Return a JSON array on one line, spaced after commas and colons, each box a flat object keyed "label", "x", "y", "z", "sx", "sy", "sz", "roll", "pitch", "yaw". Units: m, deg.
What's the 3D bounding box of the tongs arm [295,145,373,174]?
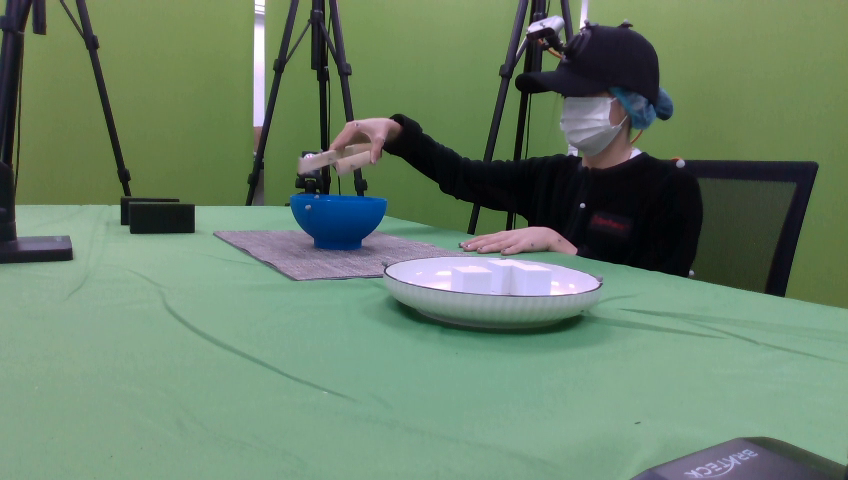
[{"label": "tongs arm", "x": -0.157, "y": -0.155, "z": 1.133, "sx": 0.051, "sy": 0.026, "sz": 0.385, "roll": 3, "pitch": 12, "yaw": 6}]

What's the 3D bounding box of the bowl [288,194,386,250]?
[{"label": "bowl", "x": -0.135, "y": -0.028, "z": 0.936, "sx": 0.151, "sy": 0.077, "sz": 0.151, "roll": 3, "pitch": 7, "yaw": 0}]

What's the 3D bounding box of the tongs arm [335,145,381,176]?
[{"label": "tongs arm", "x": -0.119, "y": -0.152, "z": 1.129, "sx": 0.028, "sy": 0.028, "sz": 0.387, "roll": 0, "pitch": 12, "yaw": 6}]

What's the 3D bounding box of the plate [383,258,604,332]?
[{"label": "plate", "x": 0.064, "y": 0.051, "z": 0.582, "sx": 0.209, "sy": 0.038, "sz": 0.209, "roll": 3, "pitch": 7, "yaw": 0}]
